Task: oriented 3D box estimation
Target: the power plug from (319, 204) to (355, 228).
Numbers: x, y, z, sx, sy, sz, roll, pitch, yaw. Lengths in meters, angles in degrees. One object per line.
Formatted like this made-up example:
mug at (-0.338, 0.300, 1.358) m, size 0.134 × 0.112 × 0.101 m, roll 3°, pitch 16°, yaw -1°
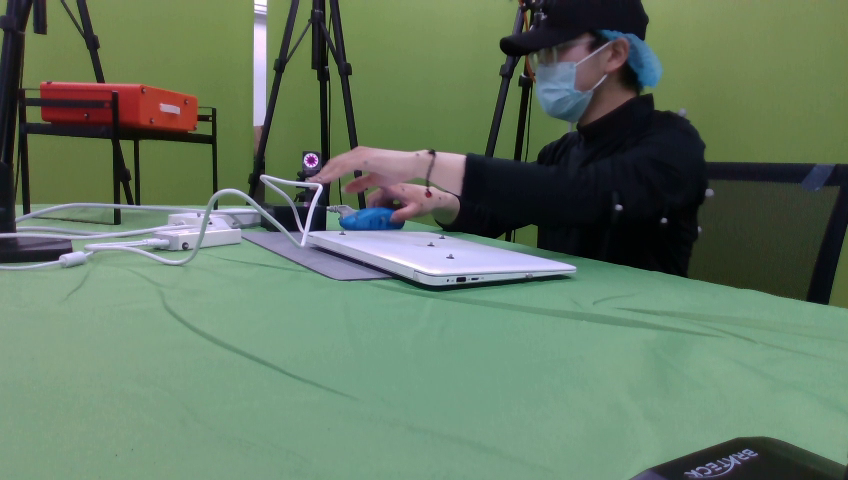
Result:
power plug at (-0.168, -0.045, 1.205) m, size 0.072 × 0.052 × 0.035 m, roll -7°, pitch -6°, yaw 5°

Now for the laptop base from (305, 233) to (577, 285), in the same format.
laptop base at (0.007, 0.022, 0.850) m, size 0.237 × 0.023 × 0.352 m, roll 1°, pitch 7°, yaw -34°

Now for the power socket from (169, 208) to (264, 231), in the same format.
power socket at (-0.381, -0.038, 1.128) m, size 0.072 × 0.032 × 0.227 m, roll 4°, pitch 8°, yaw 16°

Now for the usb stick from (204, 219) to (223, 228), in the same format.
usb stick at (-0.346, -0.018, 1.010) m, size 0.021 × 0.027 × 0.059 m, roll -43°, pitch -1°, yaw -8°

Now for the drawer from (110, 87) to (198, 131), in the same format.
drawer at (-0.602, -0.263, 1.225) m, size 0.211 × 0.073 × 0.195 m, roll 3°, pitch 8°, yaw 10°

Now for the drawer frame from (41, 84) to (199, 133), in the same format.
drawer frame at (-0.604, -0.264, 1.225) m, size 0.213 × 0.082 × 0.202 m, roll 3°, pitch 8°, yaw 8°

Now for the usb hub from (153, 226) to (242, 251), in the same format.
usb hub at (-0.337, -0.003, 0.907) m, size 0.049 × 0.025 × 0.125 m, roll 6°, pitch 9°, yaw 28°

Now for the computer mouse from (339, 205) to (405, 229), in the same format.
computer mouse at (-0.094, -0.042, 1.099) m, size 0.118 × 0.041 × 0.062 m, roll -7°, pitch 14°, yaw -31°

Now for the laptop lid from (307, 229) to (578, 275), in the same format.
laptop lid at (0.009, 0.010, 0.850) m, size 0.243 × 0.013 × 0.355 m, roll 0°, pitch 8°, yaw -32°
